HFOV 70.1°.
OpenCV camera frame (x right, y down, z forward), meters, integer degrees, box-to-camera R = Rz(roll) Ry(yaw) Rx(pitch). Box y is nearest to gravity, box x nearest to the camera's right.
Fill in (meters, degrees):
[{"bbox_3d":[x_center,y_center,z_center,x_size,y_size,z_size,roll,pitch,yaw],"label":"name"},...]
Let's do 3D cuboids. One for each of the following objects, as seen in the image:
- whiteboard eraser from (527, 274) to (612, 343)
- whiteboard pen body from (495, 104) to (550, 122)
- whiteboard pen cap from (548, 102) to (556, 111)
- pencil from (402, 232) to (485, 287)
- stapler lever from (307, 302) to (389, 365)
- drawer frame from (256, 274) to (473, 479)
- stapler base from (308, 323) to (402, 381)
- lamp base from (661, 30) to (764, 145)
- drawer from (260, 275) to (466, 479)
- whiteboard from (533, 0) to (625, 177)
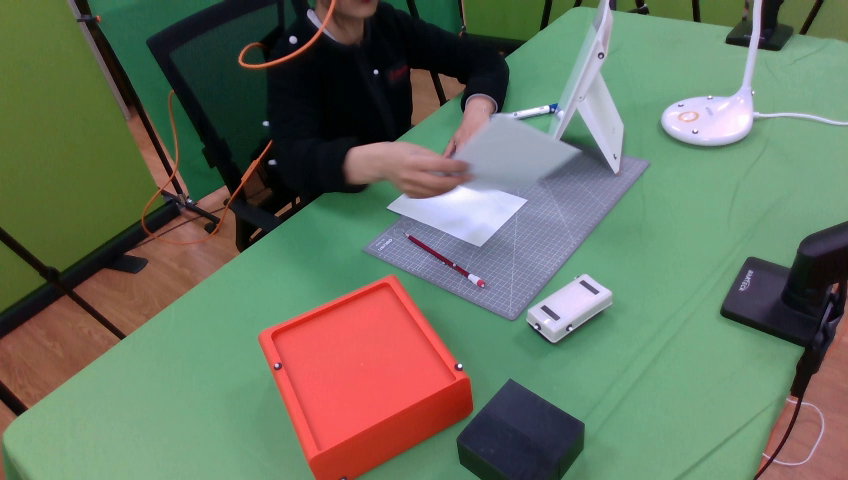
[{"bbox_3d":[0.198,0.094,0.820,0.113,0.042,0.055,-29,43,-22],"label":"whiteboard eraser"},{"bbox_3d":[0.216,-0.267,1.256,0.141,0.017,0.017,-13,40,-6],"label":"whiteboard pen body"},{"bbox_3d":[0.273,-0.279,1.259,0.033,0.018,0.018,-11,40,-5],"label":"whiteboard pen cap"},{"bbox_3d":[0.026,0.027,0.949,0.012,0.012,0.192,-34,45,-26],"label":"pencil"},{"bbox_3d":[-0.101,0.121,0.798,0.118,0.040,0.026,-26,29,-17],"label":"stapler lever"},{"bbox_3d":[-0.078,0.163,0.756,0.202,0.083,0.211,-23,43,-17],"label":"drawer frame"},{"bbox_3d":[-0.094,0.142,0.812,0.131,0.024,0.041,-25,29,-18],"label":"stapler base"},{"bbox_3d":[0.535,-0.287,1.096,0.179,0.181,0.159,-10,40,-4],"label":"lamp base"},{"bbox_3d":[-0.080,0.162,0.760,0.195,0.073,0.210,-22,42,-16],"label":"drawer"},{"bbox_3d":[0.321,-0.258,1.049,0.144,0.306,0.217,20,45,4],"label":"whiteboard"}]
